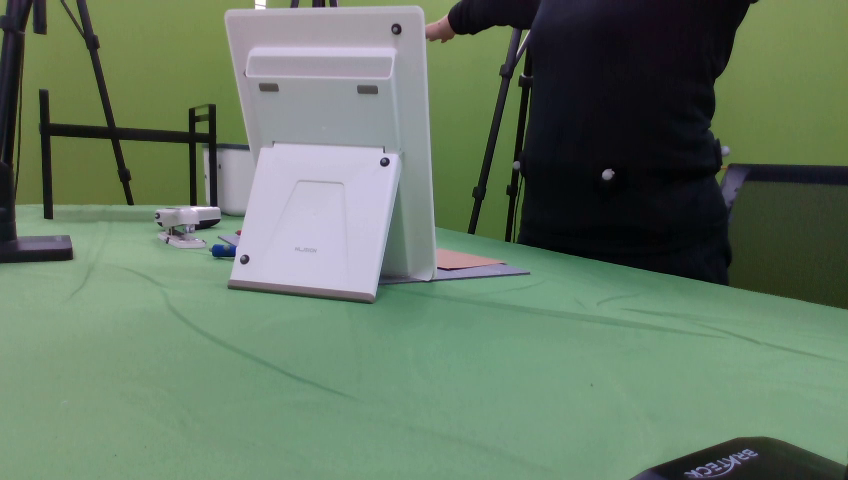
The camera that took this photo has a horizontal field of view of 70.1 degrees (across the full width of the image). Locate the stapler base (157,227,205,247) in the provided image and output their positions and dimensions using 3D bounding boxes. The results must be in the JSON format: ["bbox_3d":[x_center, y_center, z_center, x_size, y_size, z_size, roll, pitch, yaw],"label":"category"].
[{"bbox_3d":[-0.376,-0.007,0.935,0.041,0.024,0.130,1,5,-38],"label":"stapler base"}]

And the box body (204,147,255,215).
[{"bbox_3d":[-0.347,-0.152,1.519,0.366,0.160,0.253,-2,9,-31],"label":"box body"}]

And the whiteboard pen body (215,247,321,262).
[{"bbox_3d":[-0.208,0.018,0.805,0.141,0.017,0.017,2,7,1],"label":"whiteboard pen body"}]

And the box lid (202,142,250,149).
[{"bbox_3d":[-0.344,-0.225,1.509,0.373,0.015,0.262,-2,8,-31],"label":"box lid"}]

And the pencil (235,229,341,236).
[{"bbox_3d":[-0.232,-0.012,1.053,0.195,0.012,0.012,0,8,-36],"label":"pencil"}]

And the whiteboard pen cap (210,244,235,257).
[{"bbox_3d":[-0.266,0.015,0.806,0.033,0.018,0.018,3,7,-1],"label":"whiteboard pen cap"}]

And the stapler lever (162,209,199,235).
[{"bbox_3d":[-0.376,-0.031,0.933,0.027,0.040,0.117,1,7,-38],"label":"stapler lever"}]

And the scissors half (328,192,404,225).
[{"bbox_3d":[-0.127,-0.072,1.321,0.175,0.040,0.013,22,2,-5],"label":"scissors half"}]

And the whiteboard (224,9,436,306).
[{"bbox_3d":[-0.117,-0.065,0.617,0.217,0.305,0.144,5,29,16],"label":"whiteboard"}]

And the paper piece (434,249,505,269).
[{"bbox_3d":[0.026,0.026,0.865,0.134,0.004,0.136,9,9,43],"label":"paper piece"}]

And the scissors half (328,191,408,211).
[{"bbox_3d":[-0.123,-0.091,1.318,0.175,0.040,0.013,6,9,-4],"label":"scissors half"}]

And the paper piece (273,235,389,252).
[{"bbox_3d":[-0.151,0.003,0.978,0.135,0.008,0.139,13,10,35],"label":"paper piece"}]

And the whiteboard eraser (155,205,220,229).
[{"bbox_3d":[-0.428,-0.041,1.100,0.055,0.042,0.113,7,8,19],"label":"whiteboard eraser"}]
